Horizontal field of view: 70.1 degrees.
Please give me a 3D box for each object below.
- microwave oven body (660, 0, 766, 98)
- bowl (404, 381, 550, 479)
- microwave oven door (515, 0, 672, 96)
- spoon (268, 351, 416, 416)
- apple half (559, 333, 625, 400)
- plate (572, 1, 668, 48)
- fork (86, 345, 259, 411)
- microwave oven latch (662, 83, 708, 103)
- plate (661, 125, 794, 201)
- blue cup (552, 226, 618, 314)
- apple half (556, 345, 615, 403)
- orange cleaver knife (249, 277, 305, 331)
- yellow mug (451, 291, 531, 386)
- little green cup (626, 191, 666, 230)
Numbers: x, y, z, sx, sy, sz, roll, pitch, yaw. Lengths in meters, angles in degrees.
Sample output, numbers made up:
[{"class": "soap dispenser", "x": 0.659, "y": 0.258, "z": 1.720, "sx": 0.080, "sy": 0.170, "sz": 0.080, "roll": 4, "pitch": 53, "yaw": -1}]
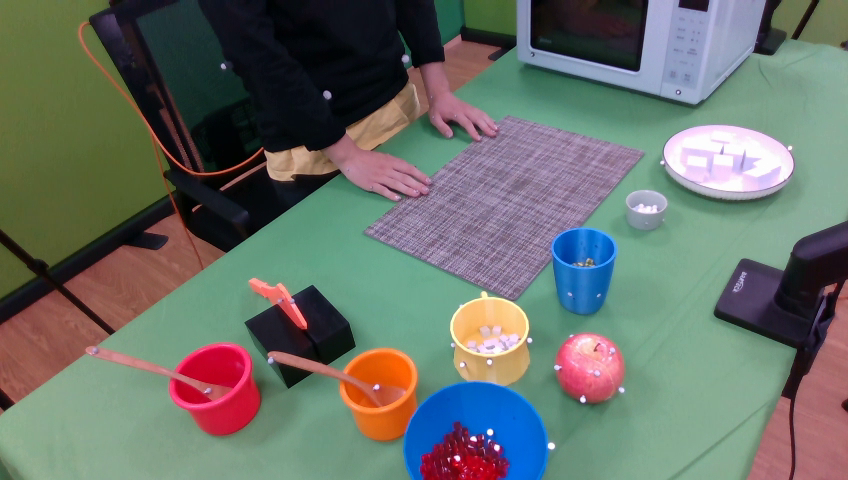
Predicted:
[{"class": "microwave oven body", "x": 0.472, "y": -0.513, "z": 1.317, "sx": 0.438, "sy": 0.261, "sz": 0.327, "roll": 26, "pitch": 51, "yaw": 34}, {"class": "bowl", "x": 0.058, "y": 0.235, "z": 0.645, "sx": 0.151, "sy": 0.077, "sz": 0.150, "roll": -4, "pitch": 39, "yaw": 4}, {"class": "microwave oven door", "x": 0.343, "y": -0.455, "z": 1.259, "sx": 0.353, "sy": 0.245, "sz": 0.039, "roll": 26, "pitch": 51, "yaw": 33}, {"class": "spoon", "x": -0.090, "y": 0.162, "z": 0.699, "sx": 0.021, "sy": 0.195, "sz": 0.041, "roll": -44, "pitch": 30, "yaw": 27}, {"class": "apple half", "x": 0.209, "y": 0.147, "z": 0.730, "sx": 0.080, "sy": 0.075, "sz": 0.053, "roll": 26, "pitch": 48, "yaw": 38}, {"class": "plate", "x": 0.441, "y": -0.483, "z": 1.366, "sx": 0.209, "sy": 0.038, "sz": 0.208, "roll": -5, "pitch": 41, "yaw": 5}, {"class": "fork", "x": -0.298, "y": 0.166, "z": 0.728, "sx": 0.209, "sy": 0.018, "sz": 0.028, "roll": 28, "pitch": 48, "yaw": -23}, {"class": "microwave oven latch", "x": 0.518, "y": -0.296, "z": 1.204, "sx": 0.078, "sy": 0.029, "sz": 0.030, "roll": 27, "pitch": 52, "yaw": 35}, {"class": "plate", "x": 0.513, "y": -0.128, "z": 1.035, "sx": 0.207, "sy": 0.039, "sz": 0.206, "roll": -4, "pitch": 40, "yaw": 4}, {"class": "blue cup", "x": 0.218, "y": 0.047, "z": 0.826, "sx": 0.092, "sy": 0.101, "sz": 0.092, "roll": -6, "pitch": 40, "yaw": 5}, {"class": "apple half", "x": 0.181, "y": 0.167, "z": 0.709, "sx": 0.080, "sy": 0.081, "sz": 0.033, "roll": 29, "pitch": 50, "yaw": 35}, {"class": "orange cleaver knife", "x": -0.210, "y": 0.088, "z": 0.855, "sx": 0.012, "sy": 0.077, "sz": 0.210, "roll": -28, "pitch": 15, "yaw": -25}, {"class": "yellow mug", "x": 0.085, "y": 0.120, "z": 0.786, "sx": 0.100, "sy": 0.064, "sz": 0.130, "roll": -7, "pitch": 39, "yaw": 1}, {"class": "little green cup", "x": 0.352, "y": -0.046, "z": 0.963, "sx": 0.061, "sy": 0.039, "sz": 0.061, "roll": -4, "pitch": 40, "yaw": 4}]
